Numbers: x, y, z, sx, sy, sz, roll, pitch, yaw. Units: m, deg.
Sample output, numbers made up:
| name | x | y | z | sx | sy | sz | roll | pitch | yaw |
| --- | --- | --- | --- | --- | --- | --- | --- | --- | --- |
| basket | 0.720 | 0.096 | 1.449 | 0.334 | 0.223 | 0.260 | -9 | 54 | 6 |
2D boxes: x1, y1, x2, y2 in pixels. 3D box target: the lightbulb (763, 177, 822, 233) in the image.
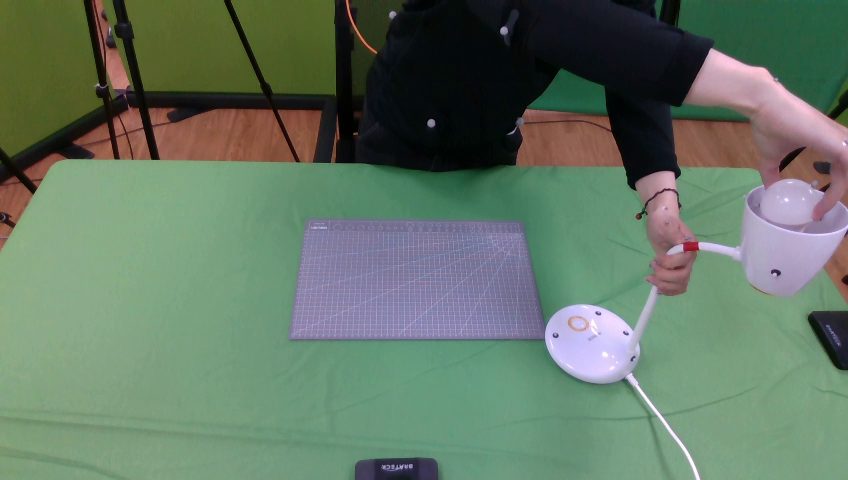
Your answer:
| name | x | y | z | sx | sy | sz | roll | pitch | yaw |
| --- | --- | --- | --- | --- | --- | --- | --- | --- | --- |
| lightbulb | 0.429 | -0.022 | 0.710 | 0.059 | 0.108 | 0.059 | -10 | 29 | 6 |

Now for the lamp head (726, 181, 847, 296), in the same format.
| name | x | y | z | sx | sy | sz | roll | pitch | yaw |
| --- | --- | --- | --- | --- | --- | --- | --- | --- | --- |
| lamp head | 0.429 | 0.005 | 0.727 | 0.112 | 0.123 | 0.111 | 1 | 39 | 0 |

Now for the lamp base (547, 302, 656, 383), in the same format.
| name | x | y | z | sx | sy | sz | roll | pitch | yaw |
| --- | --- | --- | --- | --- | --- | --- | --- | --- | --- |
| lamp base | 0.304 | 0.127 | 0.982 | 0.160 | 0.181 | 0.178 | -33 | 59 | -29 |
